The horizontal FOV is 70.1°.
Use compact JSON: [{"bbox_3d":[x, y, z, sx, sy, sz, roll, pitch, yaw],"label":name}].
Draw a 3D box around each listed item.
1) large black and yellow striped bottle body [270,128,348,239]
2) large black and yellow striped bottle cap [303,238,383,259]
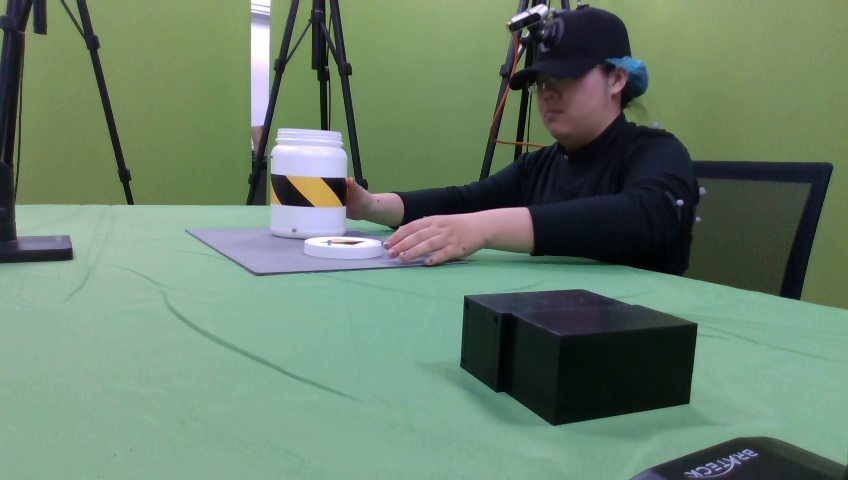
[{"bbox_3d":[-0.200,-0.099,1.053,0.131,0.184,0.130,3,8,0],"label":"large black and yellow striped bottle body"},{"bbox_3d":[-0.117,0.011,0.880,0.115,0.019,0.115,2,6,0],"label":"large black and yellow striped bottle cap"}]
